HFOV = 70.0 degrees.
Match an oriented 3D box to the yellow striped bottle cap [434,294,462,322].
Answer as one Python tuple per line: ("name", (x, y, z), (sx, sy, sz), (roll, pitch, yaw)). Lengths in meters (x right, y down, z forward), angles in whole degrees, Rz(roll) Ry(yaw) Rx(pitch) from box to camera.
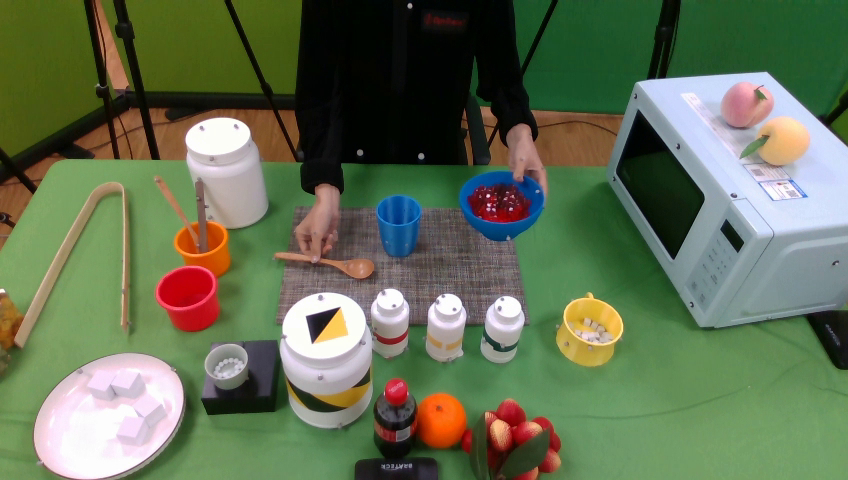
("yellow striped bottle cap", (0.038, 0.107, 0.958), (0.044, 0.019, 0.044), (2, 45, -2))

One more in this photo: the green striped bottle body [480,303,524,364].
("green striped bottle body", (0.129, 0.147, 1.000), (0.063, 0.120, 0.063), (2, 46, -2))

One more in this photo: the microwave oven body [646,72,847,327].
("microwave oven body", (0.607, -0.089, 1.164), (0.326, 0.261, 0.438), (-7, 46, -10))

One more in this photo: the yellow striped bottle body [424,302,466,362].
("yellow striped bottle body", (0.035, 0.143, 0.995), (0.063, 0.121, 0.062), (3, 46, -3))

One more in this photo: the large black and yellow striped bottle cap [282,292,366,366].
("large black and yellow striped bottle cap", (-0.138, 0.121, 0.841), (0.115, 0.019, 0.114), (3, 47, -3))

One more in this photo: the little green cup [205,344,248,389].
("little green cup", (-0.294, 0.191, 0.909), (0.061, 0.039, 0.061), (1, 47, -1))

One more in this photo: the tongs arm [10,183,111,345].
("tongs arm", (-0.658, 0.027, 1.109), (0.028, 0.028, 0.385), (-2, 45, 2))

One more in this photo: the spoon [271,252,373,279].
("spoon", (-0.191, 0.040, 1.133), (0.194, 0.022, 0.041), (11, 70, 0))

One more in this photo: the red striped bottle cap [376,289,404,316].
("red striped bottle cap", (-0.055, 0.098, 0.958), (0.044, 0.018, 0.044), (0, 48, 0))

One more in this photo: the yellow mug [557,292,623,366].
("yellow mug", (0.285, 0.146, 1.051), (0.100, 0.064, 0.130), (7, 45, 4))

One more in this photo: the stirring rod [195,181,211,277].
("stirring rod", (-0.403, -0.020, 1.104), (0.014, 0.006, 0.176), (-6, 89, -9))

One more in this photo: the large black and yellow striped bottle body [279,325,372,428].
("large black and yellow striped bottle body", (-0.143, 0.181, 0.900), (0.131, 0.185, 0.130), (2, 46, -2))

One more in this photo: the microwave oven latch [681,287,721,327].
("microwave oven latch", (0.494, 0.119, 1.087), (0.030, 0.029, 0.078), (-6, 46, -9))

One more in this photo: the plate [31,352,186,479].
("plate", (-0.459, 0.262, 0.898), (0.209, 0.038, 0.208), (2, 46, -2))

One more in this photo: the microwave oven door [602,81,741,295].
("microwave oven door", (0.456, -0.107, 1.162), (0.039, 0.245, 0.353), (-7, 47, -11))

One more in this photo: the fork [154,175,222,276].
("fork", (-0.431, -0.026, 1.101), (0.028, 0.018, 0.207), (-33, 100, -25))

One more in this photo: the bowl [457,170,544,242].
("bowl", (0.134, -0.050, 1.083), (0.151, 0.077, 0.150), (-2, 43, 2))

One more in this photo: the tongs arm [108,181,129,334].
("tongs arm", (-0.571, 0.019, 1.123), (0.051, 0.026, 0.382), (-11, 47, -12))

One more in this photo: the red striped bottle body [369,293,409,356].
("red striped bottle body", (-0.059, 0.134, 0.997), (0.063, 0.120, 0.062), (5, 47, -5))

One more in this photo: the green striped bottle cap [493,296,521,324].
("green striped bottle cap", (0.133, 0.111, 0.962), (0.044, 0.020, 0.044), (2, 47, -2))

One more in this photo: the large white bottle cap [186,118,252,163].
("large white bottle cap", (-0.377, -0.185, 1.114), (0.115, 0.018, 0.114), (2, 47, -2))

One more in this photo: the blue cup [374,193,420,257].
("blue cup", (-0.051, -0.022, 1.156), (0.093, 0.101, 0.092), (2, 47, -2))

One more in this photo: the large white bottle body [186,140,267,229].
("large white bottle body", (-0.382, -0.127, 1.175), (0.131, 0.185, 0.130), (2, 47, -2))
